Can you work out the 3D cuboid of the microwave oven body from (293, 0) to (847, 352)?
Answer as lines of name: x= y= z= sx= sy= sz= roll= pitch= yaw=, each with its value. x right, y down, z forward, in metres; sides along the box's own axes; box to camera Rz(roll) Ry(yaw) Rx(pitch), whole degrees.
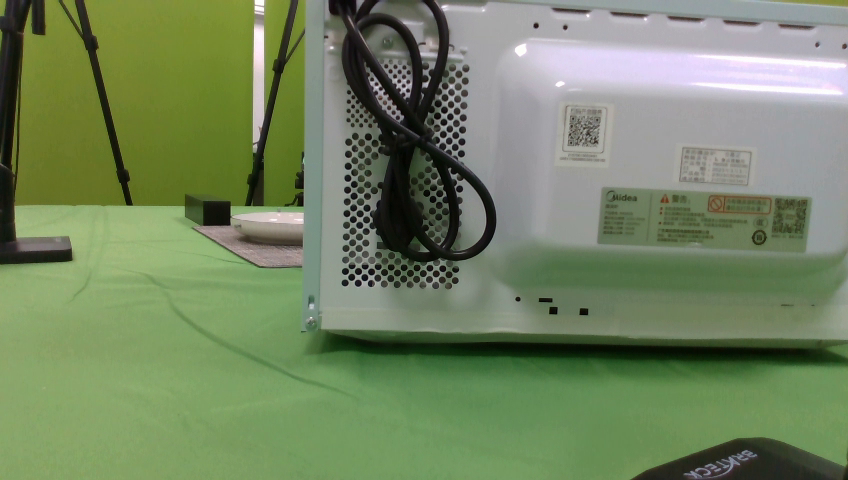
microwave oven body: x=0.122 y=-0.055 z=0.550 sx=0.442 sy=0.260 sz=0.325 roll=3 pitch=7 yaw=-5

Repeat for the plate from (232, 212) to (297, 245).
plate: x=-0.214 y=-0.019 z=1.018 sx=0.208 sy=0.039 sz=0.207 roll=2 pitch=7 yaw=0

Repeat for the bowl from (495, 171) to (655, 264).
bowl: x=0.144 y=-0.023 z=0.592 sx=0.151 sy=0.077 sz=0.151 roll=1 pitch=11 yaw=0

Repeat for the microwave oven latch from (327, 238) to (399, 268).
microwave oven latch: x=-0.069 y=0.015 z=0.694 sx=0.079 sy=0.029 sz=0.030 roll=3 pitch=7 yaw=-3

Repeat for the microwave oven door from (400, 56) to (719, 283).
microwave oven door: x=0.155 y=-0.078 z=0.698 sx=0.356 sy=0.243 sz=0.039 roll=2 pitch=8 yaw=-5
